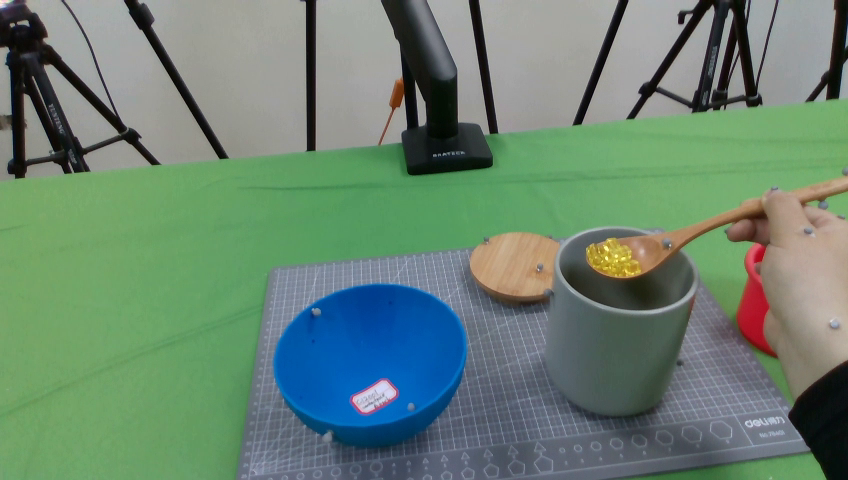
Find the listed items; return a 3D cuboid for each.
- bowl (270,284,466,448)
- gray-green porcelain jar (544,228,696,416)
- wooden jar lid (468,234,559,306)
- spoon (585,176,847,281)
[{"bbox_3d":[-0.041,0.113,0.491,0.151,0.077,0.150,-2,37,2],"label":"bowl"},{"bbox_3d":[0.153,0.071,0.493,0.106,0.127,0.105,-2,37,2],"label":"gray-green porcelain jar"},{"bbox_3d":[0.101,0.032,0.639,0.108,0.021,0.107,-2,35,2],"label":"wooden jar lid"},{"bbox_3d":[0.211,-0.010,0.433,0.193,0.022,0.041,-21,38,11],"label":"spoon"}]
